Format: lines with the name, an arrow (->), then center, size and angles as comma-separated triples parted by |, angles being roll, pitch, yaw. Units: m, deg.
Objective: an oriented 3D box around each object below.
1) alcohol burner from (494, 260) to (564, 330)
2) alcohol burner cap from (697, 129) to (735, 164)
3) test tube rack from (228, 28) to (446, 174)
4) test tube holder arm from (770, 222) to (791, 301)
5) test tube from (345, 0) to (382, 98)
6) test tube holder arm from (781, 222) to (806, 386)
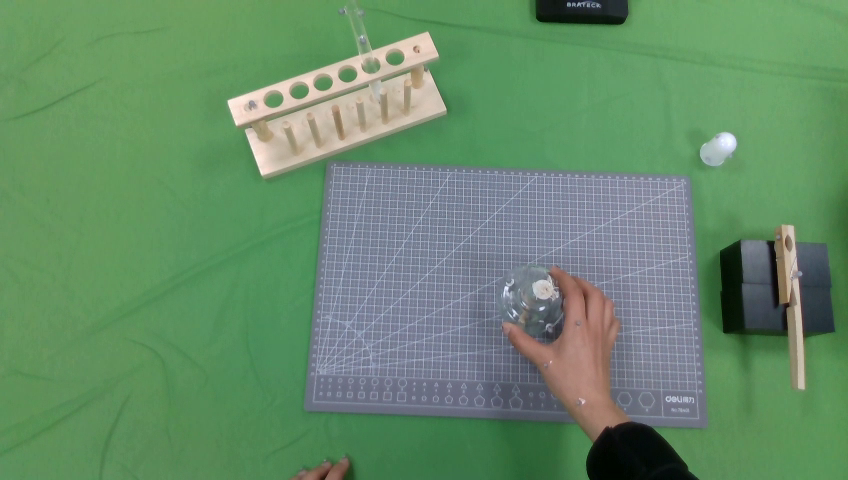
alcohol burner -> 0.117, 0.056, 0.653 | 0.078, 0.119, 0.077 | 1, 76, -2
alcohol burner cap -> 0.361, -0.117, 0.743 | 0.034, 0.048, 0.033 | 0, 75, 1
test tube rack -> -0.096, -0.163, 0.722 | 0.242, 0.085, 0.066 | -21, 76, -6
test tube holder arm -> 0.395, 0.024, 0.670 | 0.010, 0.015, 0.087 | 2, 77, 0
test tube -> -0.064, -0.211, 0.682 | 0.017, 0.151, 0.017 | -3, 65, 6
test tube holder arm -> 0.400, 0.068, 0.660 | 0.013, 0.015, 0.177 | 1, 77, 0
